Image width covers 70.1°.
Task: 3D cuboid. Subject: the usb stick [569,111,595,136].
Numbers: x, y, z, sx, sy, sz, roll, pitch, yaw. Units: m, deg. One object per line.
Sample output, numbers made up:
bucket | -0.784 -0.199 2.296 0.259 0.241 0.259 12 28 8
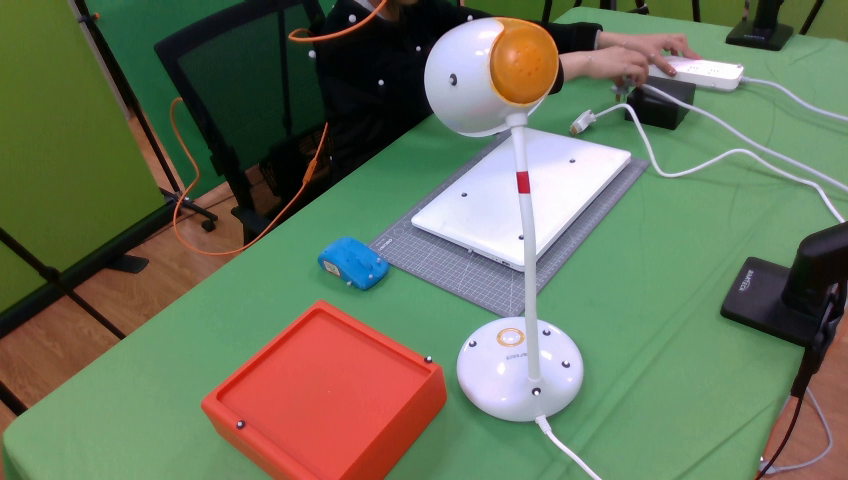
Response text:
usb stick | 0.309 -0.227 1.189 0.059 0.021 0.027 -44 14 -19

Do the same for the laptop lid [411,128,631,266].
laptop lid | 0.173 -0.093 1.049 0.239 0.013 0.358 23 49 36

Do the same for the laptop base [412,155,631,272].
laptop base | 0.176 -0.084 1.055 0.233 0.023 0.355 21 48 36

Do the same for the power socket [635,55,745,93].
power socket | 0.563 -0.358 1.295 0.225 0.033 0.072 20 49 31

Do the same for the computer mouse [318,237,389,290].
computer mouse | -0.113 0.033 0.959 0.116 0.041 0.063 28 51 31

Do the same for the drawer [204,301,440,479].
drawer | -0.119 0.194 0.735 0.210 0.073 0.195 23 49 32

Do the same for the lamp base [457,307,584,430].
lamp base | 0.115 0.108 0.713 0.161 0.181 0.178 -16 43 -8

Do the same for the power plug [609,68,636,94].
power plug | 0.405 -0.330 1.227 0.035 0.072 0.052 -7 53 -35

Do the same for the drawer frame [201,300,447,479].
drawer frame | -0.117 0.193 0.733 0.212 0.083 0.202 23 48 32

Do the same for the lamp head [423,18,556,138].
lamp head | 0.069 -0.151 0.563 0.113 0.113 0.122 -21 18 -13
